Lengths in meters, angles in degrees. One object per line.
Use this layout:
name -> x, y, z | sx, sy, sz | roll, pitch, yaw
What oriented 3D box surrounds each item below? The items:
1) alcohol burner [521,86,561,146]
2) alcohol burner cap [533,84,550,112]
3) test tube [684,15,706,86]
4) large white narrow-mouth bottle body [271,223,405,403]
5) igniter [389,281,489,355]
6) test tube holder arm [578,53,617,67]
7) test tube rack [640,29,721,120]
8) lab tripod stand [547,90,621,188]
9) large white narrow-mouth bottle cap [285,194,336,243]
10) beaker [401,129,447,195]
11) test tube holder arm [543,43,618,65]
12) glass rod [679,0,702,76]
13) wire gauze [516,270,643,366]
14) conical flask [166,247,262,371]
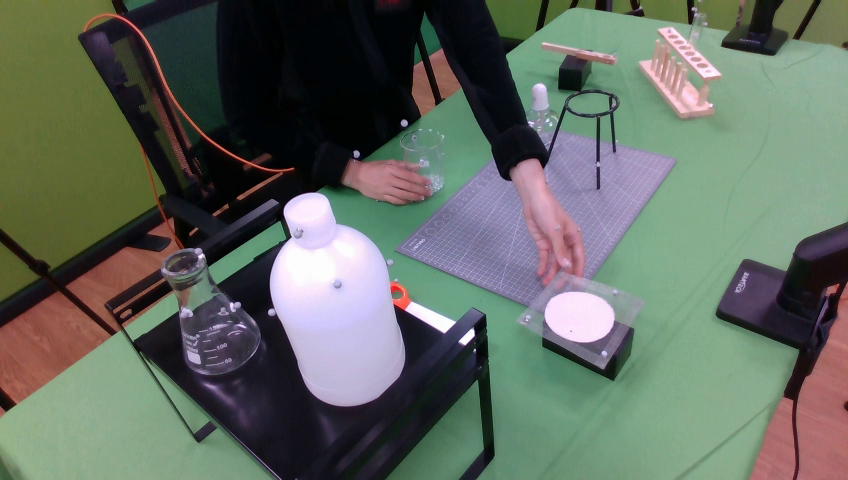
alcohol burner -> 0.223, -0.241, 1.155 | 0.078, 0.119, 0.077 | -5, 43, 5
alcohol burner cap -> 0.218, -0.268, 1.133 | 0.034, 0.048, 0.033 | -8, 36, 7
test tube -> 0.541, -0.378, 1.215 | 0.017, 0.151, 0.017 | -2, 44, 3
large white narrow-mouth bottle body -> -0.077, 0.048, 0.525 | 0.102, 0.195, 0.101 | -5, 40, 5
igniter -> -0.029, 0.095, 0.871 | 0.274, 0.025, 0.057 | 22, 59, 31
test tube holder arm -> 0.376, -0.393, 1.314 | 0.087, 0.015, 0.010 | 26, 50, 32
test tube rack -> 0.527, -0.351, 1.262 | 0.067, 0.085, 0.241 | -8, 40, 1
lab tripod stand -> 0.289, -0.184, 1.062 | 0.148, 0.132, 0.147 | -6, 41, 6
large white narrow-mouth bottle cap -> -0.087, -0.017, 0.468 | 0.038, 0.024, 0.037 | -5, 40, 4
beaker -> 0.005, -0.140, 1.087 | 0.084, 0.101, 0.073 | -15, 41, -9
test tube holder arm -> 0.345, -0.412, 1.340 | 0.177, 0.015, 0.013 | 25, 49, 32
glass rod -> 0.543, -0.417, 1.233 | 0.008, 0.200, 0.008 | 1, 39, 0
wire gauze -> 0.200, 0.093, 0.777 | 0.124, 0.011, 0.122 | 23, 49, 33
conical flask -> -0.209, 0.064, 0.584 | 0.075, 0.122, 0.075 | -4, 41, 4
